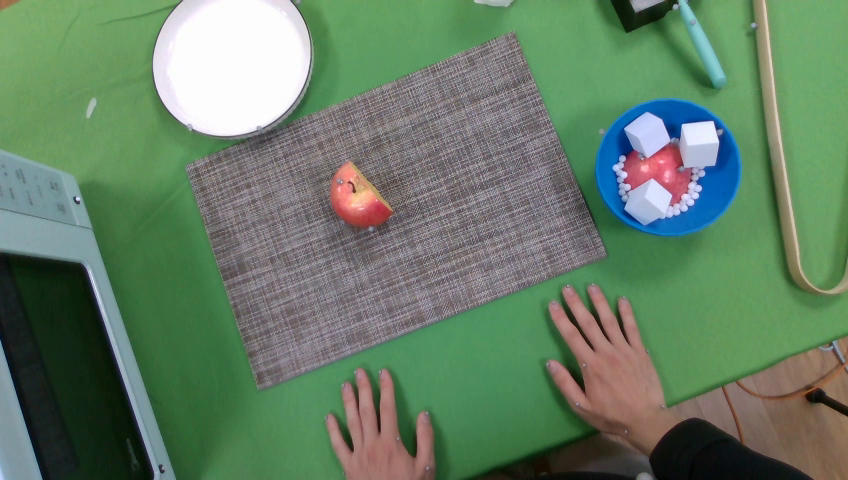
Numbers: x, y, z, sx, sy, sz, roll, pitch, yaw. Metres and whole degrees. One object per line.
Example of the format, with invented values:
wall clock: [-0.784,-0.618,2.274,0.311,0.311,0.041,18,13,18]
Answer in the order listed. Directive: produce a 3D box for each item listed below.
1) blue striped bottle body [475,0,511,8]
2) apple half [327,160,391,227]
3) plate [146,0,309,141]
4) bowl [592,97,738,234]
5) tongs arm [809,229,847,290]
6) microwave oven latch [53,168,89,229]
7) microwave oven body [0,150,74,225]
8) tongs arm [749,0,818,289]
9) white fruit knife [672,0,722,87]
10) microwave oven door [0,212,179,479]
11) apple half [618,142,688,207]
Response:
blue striped bottle body: [0.081,-0.329,0.707,0.063,0.121,0.063,-1,83,6]
apple half: [-0.082,-0.047,0.714,0.053,0.075,0.080,-42,85,6]
plate: [-0.245,-0.224,0.772,0.207,0.039,0.207,-1,84,5]
bowl: [0.261,-0.076,0.684,0.151,0.077,0.151,-1,84,6]
tongs arm: [0.487,-0.131,0.688,0.050,0.026,0.384,8,86,7]
microwave oven latch: [-0.448,-0.048,0.755,0.030,0.029,0.079,-23,83,2]
microwave oven body: [-0.528,0.160,0.643,0.326,0.261,0.440,-23,83,2]
tongs arm: [0.407,-0.135,0.699,0.028,0.028,0.386,-5,84,3]
white fruit knife: [0.292,-0.268,0.696,0.016,0.027,0.208,-29,98,20]
microwave oven door: [-0.378,0.140,0.625,0.039,0.244,0.354,-24,82,3]
apple half: [0.261,-0.076,0.679,0.081,0.033,0.081,-1,83,8]
